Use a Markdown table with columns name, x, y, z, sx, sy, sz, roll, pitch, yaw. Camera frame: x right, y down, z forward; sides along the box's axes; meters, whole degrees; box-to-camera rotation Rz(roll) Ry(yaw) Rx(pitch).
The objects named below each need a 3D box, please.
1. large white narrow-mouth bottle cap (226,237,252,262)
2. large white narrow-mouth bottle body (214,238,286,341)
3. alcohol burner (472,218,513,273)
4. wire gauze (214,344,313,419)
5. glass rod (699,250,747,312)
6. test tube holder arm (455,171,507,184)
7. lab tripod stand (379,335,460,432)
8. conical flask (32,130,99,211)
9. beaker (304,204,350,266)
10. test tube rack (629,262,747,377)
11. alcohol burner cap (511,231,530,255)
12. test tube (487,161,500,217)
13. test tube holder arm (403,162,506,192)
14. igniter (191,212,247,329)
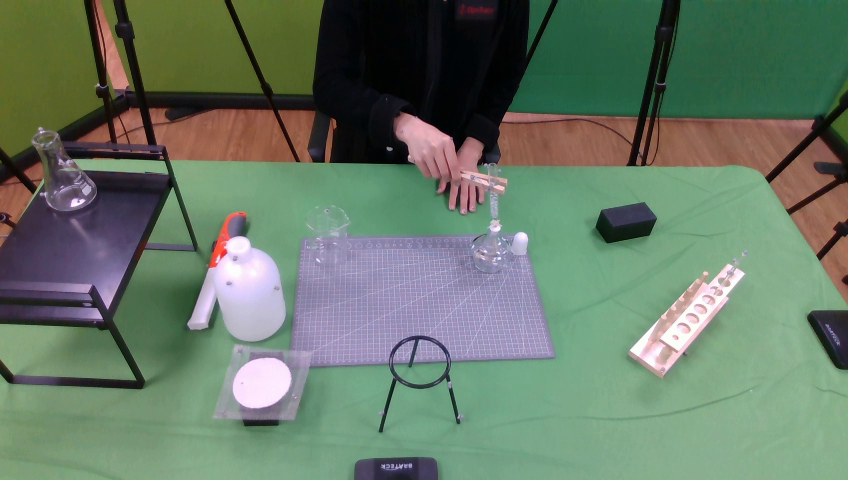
| name | x | y | z | sx | sy | sz | roll | pitch | yaw |
| --- | --- | --- | --- | --- | --- | --- | --- | --- | --- |
| large white narrow-mouth bottle cap | -0.282 | 0.014 | 0.923 | 0.038 | 0.024 | 0.037 | 2 | 46 | -2 |
| large white narrow-mouth bottle body | -0.285 | 0.073 | 0.986 | 0.102 | 0.195 | 0.101 | 2 | 46 | -2 |
| alcohol burner | 0.128 | 0.005 | 1.132 | 0.078 | 0.120 | 0.077 | 0 | 47 | 0 |
| wire gauze | -0.241 | 0.213 | 0.915 | 0.121 | 0.011 | 0.124 | 5 | 46 | 1 |
| glass rod | 0.500 | 0.075 | 1.021 | 0.008 | 0.201 | 0.008 | 0 | 54 | 1 |
| test tube holder arm | 0.094 | -0.101 | 1.007 | 0.088 | 0.015 | 0.010 | 11 | 45 | 11 |
| lab tripod stand | -0.011 | 0.214 | 0.911 | 0.148 | 0.132 | 0.147 | 1 | 45 | 0 |
| conical flask | -0.565 | -0.111 | 0.944 | 0.075 | 0.122 | 0.075 | 2 | 46 | -2 |
| beaker | -0.178 | -0.006 | 1.132 | 0.084 | 0.101 | 0.073 | 4 | 46 | -1 |
| test tube rack | 0.464 | 0.126 | 1.061 | 0.242 | 0.085 | 0.066 | -34 | 56 | -30 |
| alcohol burner cap | 0.191 | 0.003 | 1.187 | 0.034 | 0.048 | 0.033 | 3 | 44 | -3 |
| test tube | 0.118 | -0.082 | 1.021 | 0.017 | 0.151 | 0.017 | -4 | 60 | 7 |
| test tube holder arm | 0.049 | -0.107 | 1.013 | 0.178 | 0.015 | 0.013 | 13 | 45 | 13 |
| igniter | -0.376 | 0.047 | 1.121 | 0.057 | 0.025 | 0.275 | -4 | 46 | 6 |
